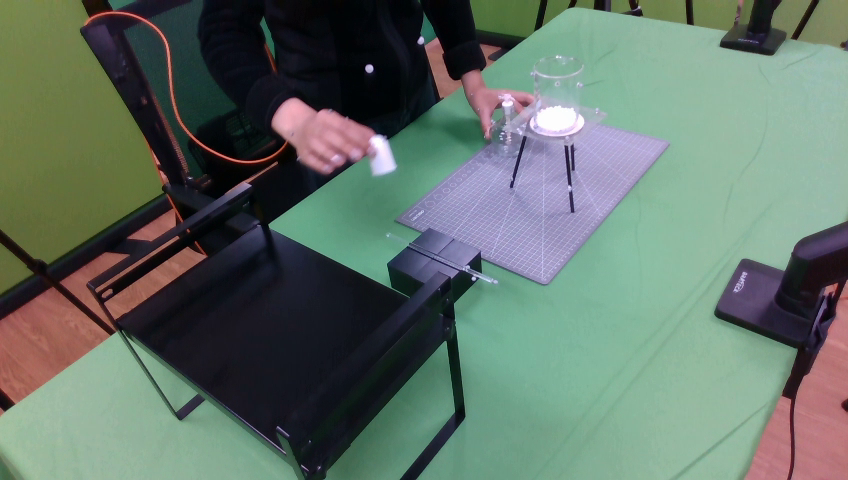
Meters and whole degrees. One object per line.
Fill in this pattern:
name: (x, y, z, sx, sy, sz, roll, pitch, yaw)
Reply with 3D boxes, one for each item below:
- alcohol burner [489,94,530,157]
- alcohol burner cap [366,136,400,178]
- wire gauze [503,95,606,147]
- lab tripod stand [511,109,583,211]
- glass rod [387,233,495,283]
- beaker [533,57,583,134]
alcohol burner: (0.159, -0.217, 1.133, 0.078, 0.119, 0.077, -6, 40, 6)
alcohol burner cap: (-0.053, -0.104, 0.744, 0.034, 0.048, 0.034, -19, 18, 7)
wire gauze: (0.212, -0.191, 0.976, 0.120, 0.011, 0.125, 24, 52, 32)
lab tripod stand: (0.220, -0.138, 1.014, 0.148, 0.132, 0.147, -3, 41, 3)
glass rod: (0.020, 0.025, 0.880, 0.198, 0.008, 0.008, 23, 49, 32)
beaker: (0.208, -0.225, 0.941, 0.073, 0.101, 0.084, 10, 44, 20)
